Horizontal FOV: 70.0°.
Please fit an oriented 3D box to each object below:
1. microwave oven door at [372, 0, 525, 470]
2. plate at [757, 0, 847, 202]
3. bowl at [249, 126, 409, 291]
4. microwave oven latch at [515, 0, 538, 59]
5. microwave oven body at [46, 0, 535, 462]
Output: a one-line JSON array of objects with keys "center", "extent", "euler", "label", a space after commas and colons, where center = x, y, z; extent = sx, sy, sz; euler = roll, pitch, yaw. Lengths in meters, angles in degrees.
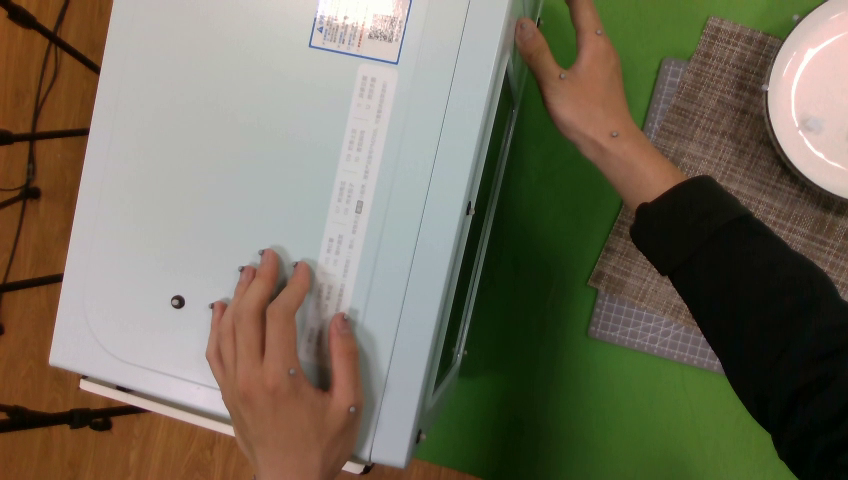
[{"center": [0.029, -0.012, 0.530], "extent": [0.039, 0.244, 0.356], "euler": [13, 94, 11], "label": "microwave oven door"}, {"center": [0.423, -0.135, 0.571], "extent": [0.209, 0.038, 0.209], "euler": [0, 90, 10], "label": "plate"}, {"center": [-0.082, -0.028, 0.587], "extent": [0.151, 0.077, 0.151], "euler": [0, 91, 9], "label": "bowl"}, {"center": [0.098, -0.226, 0.614], "extent": [0.030, 0.029, 0.079], "euler": [13, 95, 10], "label": "microwave oven latch"}, {"center": [-0.101, -0.085, 0.557], "extent": [0.325, 0.260, 0.442], "euler": [13, 94, 10], "label": "microwave oven body"}]
